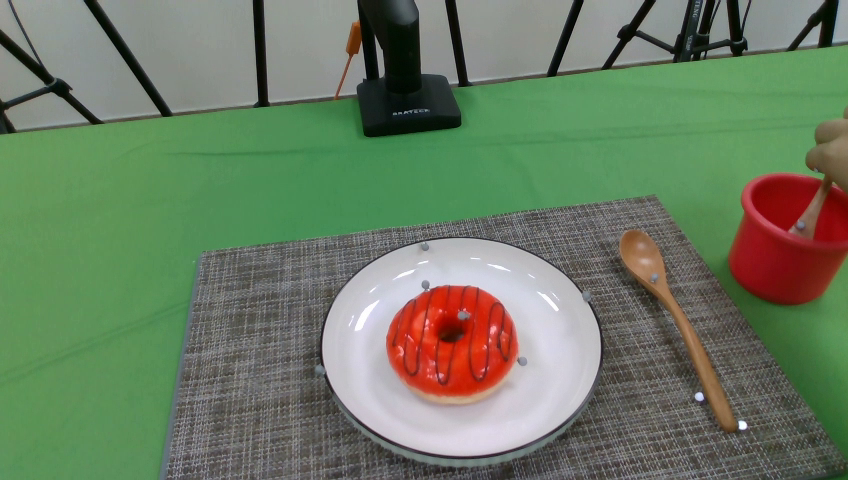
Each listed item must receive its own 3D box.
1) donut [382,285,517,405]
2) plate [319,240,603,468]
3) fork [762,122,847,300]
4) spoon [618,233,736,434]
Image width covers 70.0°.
[{"bbox_3d":[0.019,0.077,0.448,0.099,0.049,0.098,-2,45,2],"label":"donut"},{"bbox_3d":[0.028,0.080,0.460,0.209,0.038,0.207,-1,41,1],"label":"plate"},{"bbox_3d":[0.338,-0.044,0.511,0.028,0.019,0.207,26,91,25],"label":"fork"},{"bbox_3d":[0.199,0.064,0.482,0.042,0.022,0.191,8,39,-16],"label":"spoon"}]
